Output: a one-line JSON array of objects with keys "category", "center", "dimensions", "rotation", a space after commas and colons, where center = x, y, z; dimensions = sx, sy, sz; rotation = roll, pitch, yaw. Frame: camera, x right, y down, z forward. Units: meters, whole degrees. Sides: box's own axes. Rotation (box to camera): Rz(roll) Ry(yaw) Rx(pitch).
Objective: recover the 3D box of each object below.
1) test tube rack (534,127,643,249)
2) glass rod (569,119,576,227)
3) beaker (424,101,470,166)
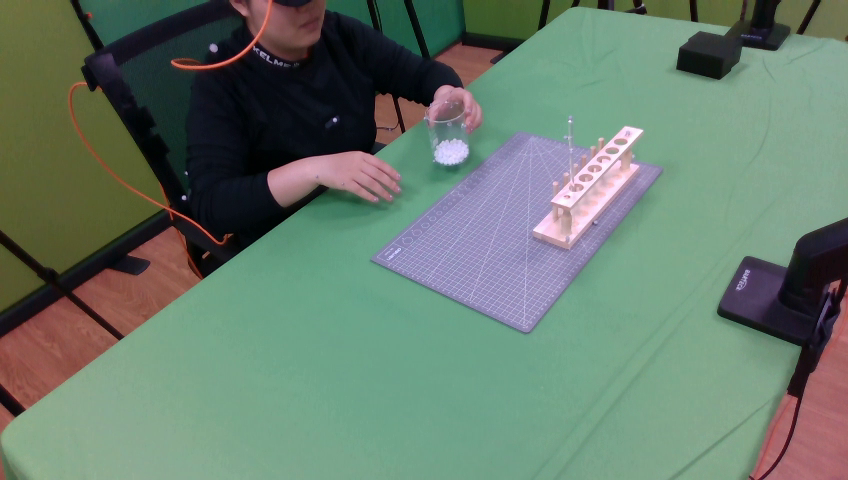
[{"category": "test tube rack", "center": [0.271, -0.094, 0.990], "dimensions": [0.066, 0.085, 0.243], "rotation": [23, 50, 33]}, {"category": "glass rod", "center": [0.219, -0.093, 0.894], "dimensions": [0.008, 0.201, 0.008], "rotation": [-8, 43, 8]}, {"category": "beaker", "center": [0.046, -0.195, 1.111], "dimensions": [0.073, 0.101, 0.084], "rotation": [5, 43, 19]}]
